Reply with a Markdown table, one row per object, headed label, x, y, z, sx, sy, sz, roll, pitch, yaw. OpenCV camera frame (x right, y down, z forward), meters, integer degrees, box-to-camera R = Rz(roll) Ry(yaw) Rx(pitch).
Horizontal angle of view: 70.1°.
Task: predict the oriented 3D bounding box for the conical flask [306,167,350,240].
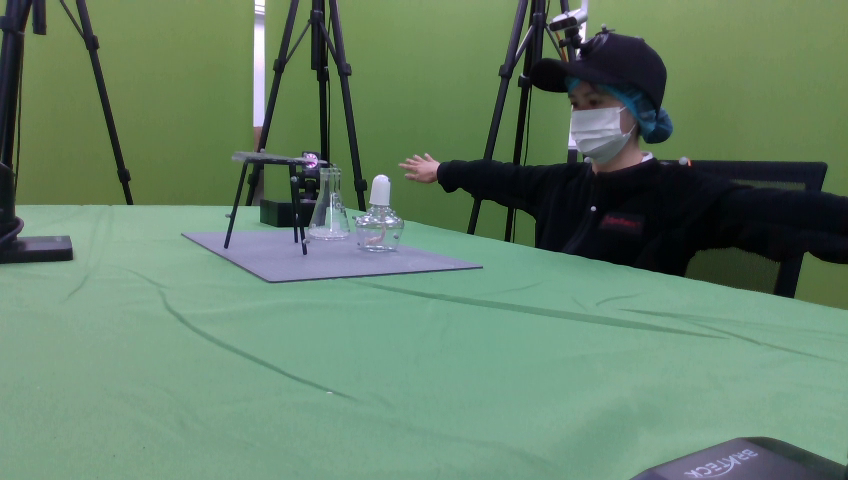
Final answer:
| label | x | y | z | sx | sy | sz | roll | pitch | yaw |
| --- | --- | --- | --- | --- | --- | --- | --- | --- | --- |
| conical flask | -0.164 | -0.063 | 1.042 | 0.075 | 0.122 | 0.075 | 3 | 7 | 0 |

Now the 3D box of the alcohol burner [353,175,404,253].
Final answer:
| label | x | y | z | sx | sy | sz | roll | pitch | yaw |
| --- | --- | --- | --- | --- | --- | --- | --- | --- | --- |
| alcohol burner | -0.070 | -0.040 | 0.926 | 0.078 | 0.119 | 0.078 | 1 | 9 | 0 |

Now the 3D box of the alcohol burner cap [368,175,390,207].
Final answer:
| label | x | y | z | sx | sy | sz | roll | pitch | yaw |
| --- | --- | --- | --- | --- | --- | --- | --- | --- | --- |
| alcohol burner cap | -0.067 | -0.075 | 0.923 | 0.034 | 0.048 | 0.034 | 8 | 11 | -1 |

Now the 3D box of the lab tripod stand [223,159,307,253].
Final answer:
| label | x | y | z | sx | sy | sz | roll | pitch | yaw |
| --- | --- | --- | --- | --- | --- | --- | --- | --- | --- |
| lab tripod stand | -0.220 | -0.053 | 0.896 | 0.148 | 0.131 | 0.148 | 1 | 6 | 0 |

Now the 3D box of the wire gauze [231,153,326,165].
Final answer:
| label | x | y | z | sx | sy | sz | roll | pitch | yaw |
| --- | --- | --- | --- | --- | --- | --- | --- | --- | --- |
| wire gauze | -0.215 | -0.118 | 0.881 | 0.125 | 0.011 | 0.121 | 1 | 7 | -19 |
